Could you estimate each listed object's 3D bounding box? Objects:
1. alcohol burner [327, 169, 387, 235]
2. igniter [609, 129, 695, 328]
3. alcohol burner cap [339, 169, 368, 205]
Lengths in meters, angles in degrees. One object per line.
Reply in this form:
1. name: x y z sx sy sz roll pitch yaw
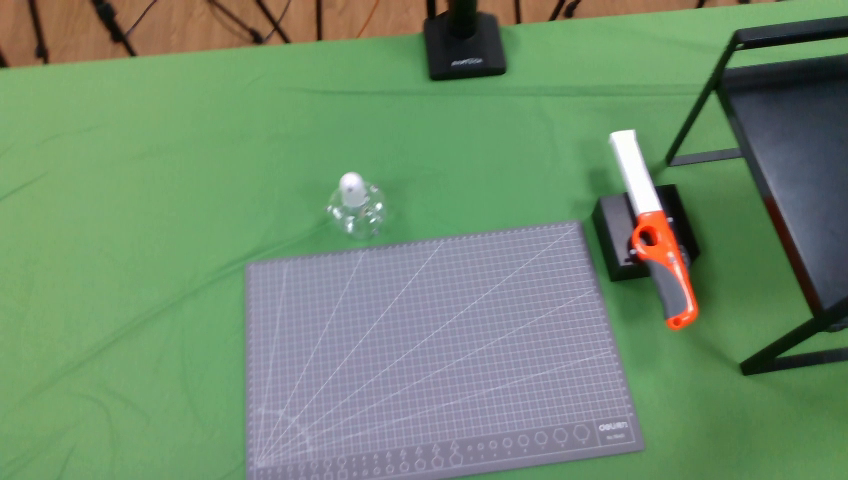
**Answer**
1. alcohol burner: -0.088 -0.055 0.771 0.078 0.120 0.077 -1 66 3
2. igniter: 0.278 -0.023 0.746 0.057 0.025 0.274 -7 62 0
3. alcohol burner cap: -0.087 -0.068 0.743 0.034 0.048 0.033 -1 66 3
